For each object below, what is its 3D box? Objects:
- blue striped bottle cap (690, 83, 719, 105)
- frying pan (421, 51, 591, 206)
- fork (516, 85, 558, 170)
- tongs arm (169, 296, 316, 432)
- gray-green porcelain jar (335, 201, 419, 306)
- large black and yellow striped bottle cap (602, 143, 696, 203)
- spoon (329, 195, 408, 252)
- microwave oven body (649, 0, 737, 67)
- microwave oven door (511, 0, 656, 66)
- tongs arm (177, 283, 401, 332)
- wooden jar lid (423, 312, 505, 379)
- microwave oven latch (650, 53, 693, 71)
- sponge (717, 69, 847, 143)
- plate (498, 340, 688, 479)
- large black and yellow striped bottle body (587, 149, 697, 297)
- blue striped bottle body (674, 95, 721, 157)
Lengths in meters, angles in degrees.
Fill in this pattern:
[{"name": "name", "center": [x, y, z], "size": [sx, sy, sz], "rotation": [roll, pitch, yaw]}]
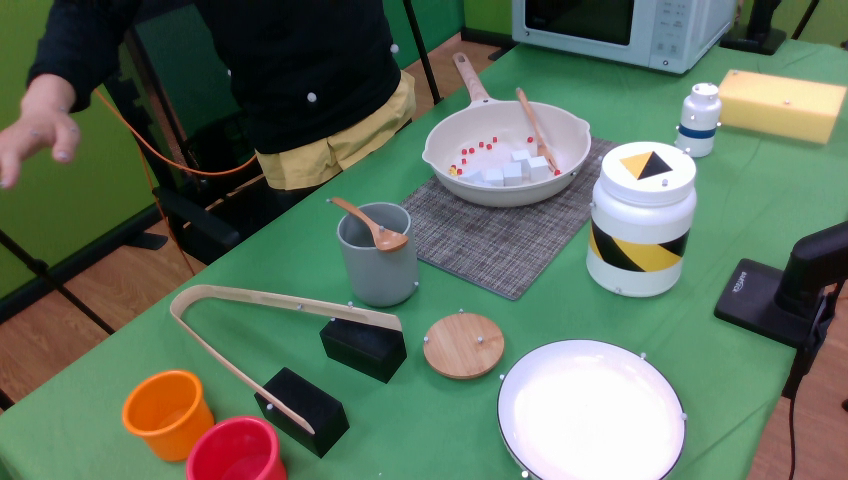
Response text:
[{"name": "blue striped bottle cap", "center": [0.481, -0.251, 1.038], "size": [0.044, 0.021, 0.044], "rotation": [-5, 40, 5]}, {"name": "frying pan", "center": [0.127, -0.233, 1.154], "size": [0.307, 0.103, 0.484], "rotation": [-11, 49, -5]}, {"name": "fork", "center": [0.208, -0.213, 1.134], "size": [0.028, 0.019, 0.206], "rotation": [-16, 66, 1]}, {"name": "tongs arm", "center": [-0.248, 0.148, 0.775], "size": [0.384, 0.028, 0.028], "rotation": [21, 56, 44]}, {"name": "gray-green porcelain jar", "center": [-0.064, 0.024, 0.872], "size": [0.106, 0.127, 0.105], "rotation": [-4, 41, 4]}, {"name": "large black and yellow striped bottle cap", "center": [0.289, -0.088, 0.779], "size": [0.115, 0.019, 0.114], "rotation": [-5, 39, 4]}, {"name": "spoon", "center": [-0.082, -0.029, 0.828], "size": [0.042, 0.022, 0.192], "rotation": [-32, 43, -20]}, {"name": "microwave oven body", "center": [0.475, -0.602, 1.411], "size": [0.438, 0.261, 0.327], "rotation": [23, 50, 32]}, {"name": "microwave oven door", "center": [0.351, -0.539, 1.349], "size": [0.353, 0.245, 0.039], "rotation": [24, 50, 31]}, {"name": "tongs arm", "center": [-0.199, 0.096, 0.823], "size": [0.382, 0.027, 0.051], "rotation": [7, 44, 34]}, {"name": "wooden jar lid", "center": [0.053, 0.142, 0.800], "size": [0.108, 0.021, 0.108], "rotation": [-4, 39, 4]}, {"name": "microwave oven latch", "center": [0.531, -0.386, 1.301], "size": [0.078, 0.029, 0.030], "rotation": [26, 51, 33]}, {"name": "sponge", "center": [0.663, -0.256, 1.142], "size": [0.205, 0.061, 0.118], "rotation": [19, 47, 28]}, {"name": "plate", "center": [0.189, 0.206, 0.692], "size": [0.207, 0.039, 0.206], "rotation": [-4, 40, 4]}, {"name": "large black and yellow striped bottle body", "center": [0.298, -0.026, 0.835], "size": [0.131, 0.185, 0.130], "rotation": [-4, 41, 4]}, {"name": "blue striped bottle body", "center": [0.486, -0.213, 1.071], "size": [0.063, 0.121, 0.063], "rotation": [-4, 41, 4]}]
